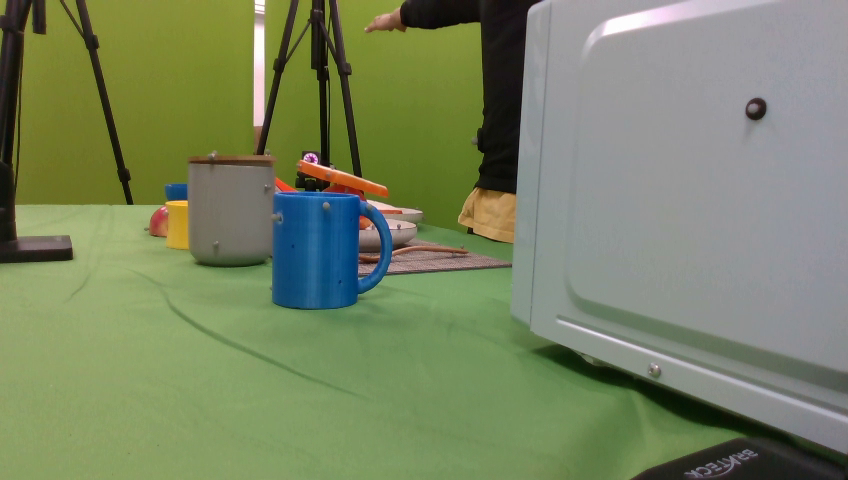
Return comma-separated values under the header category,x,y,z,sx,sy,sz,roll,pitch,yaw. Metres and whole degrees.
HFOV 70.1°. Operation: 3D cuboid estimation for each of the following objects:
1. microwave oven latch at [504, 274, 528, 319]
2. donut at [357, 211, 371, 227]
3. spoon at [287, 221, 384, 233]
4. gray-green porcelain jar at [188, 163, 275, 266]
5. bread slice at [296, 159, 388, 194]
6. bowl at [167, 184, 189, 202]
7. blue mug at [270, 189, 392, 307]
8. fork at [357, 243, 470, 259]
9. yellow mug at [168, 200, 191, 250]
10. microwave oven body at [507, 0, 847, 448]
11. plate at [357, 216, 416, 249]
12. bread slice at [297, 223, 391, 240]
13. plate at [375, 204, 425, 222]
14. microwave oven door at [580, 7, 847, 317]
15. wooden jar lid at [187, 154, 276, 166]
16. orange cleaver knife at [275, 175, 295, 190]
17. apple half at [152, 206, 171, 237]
category,x,y,z,sx,sy,sz,roll,pitch,yaw
microwave oven latch,0.100,0.041,0.471,0.079,0.029,0.030,-1,7,-27
donut,-0.129,-0.041,0.956,0.099,0.048,0.099,2,7,0
spoon,-0.157,-0.027,1.110,0.195,0.021,0.041,-4,-14,-35
gray-green porcelain jar,-0.246,-0.034,0.779,0.106,0.126,0.106,1,7,0
bread slice,-0.132,-0.102,0.952,0.132,0.019,0.104,13,6,-36
bowl,-0.408,-0.064,1.154,0.151,0.077,0.151,2,8,0
blue mug,-0.090,0.005,0.588,0.117,0.106,0.082,1,7,-11
fork,-0.017,0.014,0.845,0.208,0.018,0.028,-5,-1,-35
yellow mug,-0.320,-0.023,0.904,0.130,0.064,0.100,8,10,36
microwave oven body,0.331,-0.042,0.425,0.444,0.260,0.324,-2,8,-31
plate,-0.116,-0.014,0.967,0.208,0.039,0.207,2,7,0
bread slice,-0.121,-0.015,0.970,0.106,0.018,0.135,9,9,40
plate,-0.102,-0.053,1.299,0.209,0.038,0.209,2,8,0
microwave oven door,0.295,-0.067,0.570,0.358,0.243,0.039,-3,9,-31
wooden jar lid,-0.244,-0.097,0.771,0.108,0.020,0.108,-1,7,0
orange cleaver knife,-0.283,-0.087,1.343,0.212,0.077,0.012,23,-16,-41
apple half,-0.415,-0.034,1.017,0.081,0.053,0.074,1,10,-8
